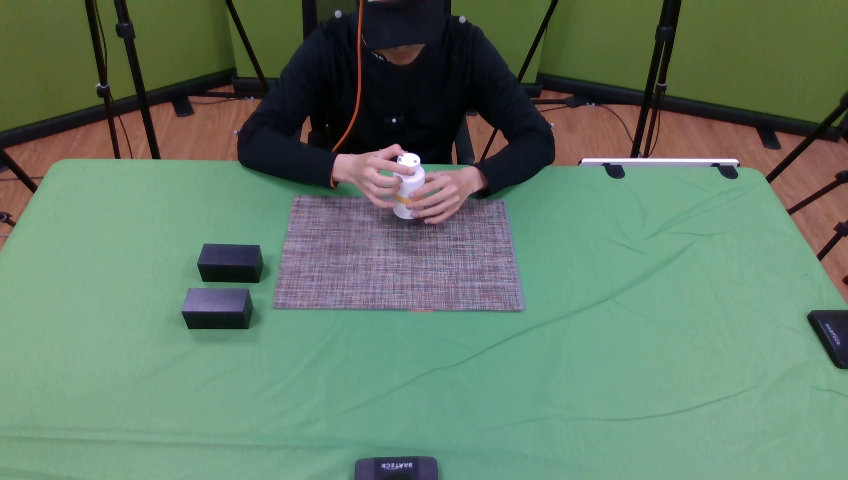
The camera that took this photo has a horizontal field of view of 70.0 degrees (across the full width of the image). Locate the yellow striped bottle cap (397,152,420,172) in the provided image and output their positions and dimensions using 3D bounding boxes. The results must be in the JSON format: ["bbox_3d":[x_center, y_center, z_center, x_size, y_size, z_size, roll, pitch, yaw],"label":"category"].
[{"bbox_3d":[-0.030,-0.147,1.141,0.044,0.019,0.044,1,43,0],"label":"yellow striped bottle cap"}]

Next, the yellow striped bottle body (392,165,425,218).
[{"bbox_3d":[-0.030,-0.106,1.179,0.063,0.121,0.062,0,43,0],"label":"yellow striped bottle body"}]
